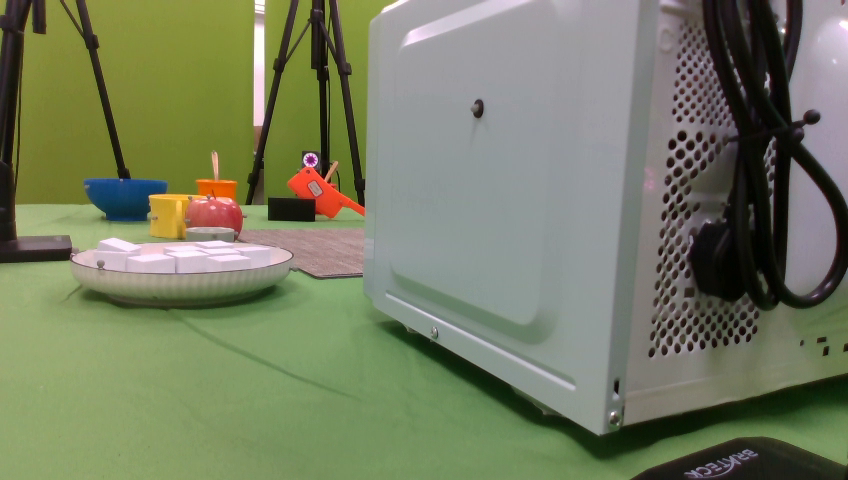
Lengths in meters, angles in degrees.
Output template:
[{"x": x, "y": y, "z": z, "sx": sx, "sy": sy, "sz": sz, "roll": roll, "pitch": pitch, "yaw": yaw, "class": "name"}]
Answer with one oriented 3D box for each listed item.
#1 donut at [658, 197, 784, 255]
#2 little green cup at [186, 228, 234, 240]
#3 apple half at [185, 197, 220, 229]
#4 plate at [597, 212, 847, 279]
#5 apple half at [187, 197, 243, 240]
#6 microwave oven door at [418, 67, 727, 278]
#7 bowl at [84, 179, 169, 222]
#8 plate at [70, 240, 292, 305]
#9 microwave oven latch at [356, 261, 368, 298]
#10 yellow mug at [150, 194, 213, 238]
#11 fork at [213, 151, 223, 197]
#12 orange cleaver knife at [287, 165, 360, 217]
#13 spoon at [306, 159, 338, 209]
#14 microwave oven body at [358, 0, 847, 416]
[{"x": 0.252, "y": -0.012, "z": 0.518, "sx": 0.099, "sy": 0.048, "sz": 0.099, "roll": 2, "pitch": 8, "yaw": 0, "class": "donut"}, {"x": -0.284, "y": 0.005, "z": 0.805, "sx": 0.061, "sy": 0.038, "sz": 0.061, "roll": 3, "pitch": 8, "yaw": 0, "class": "little green cup"}, {"x": -0.338, "y": -0.031, "z": 0.927, "sx": 0.032, "sy": 0.081, "sz": 0.081, "roll": 12, "pitch": 12, "yaw": 31, "class": "apple half"}, {"x": 0.255, "y": 0.002, "z": 0.519, "sx": 0.209, "sy": 0.038, "sz": 0.209, "roll": 3, "pitch": 7, "yaw": 0, "class": "plate"}, {"x": -0.305, "y": -0.026, "z": 0.907, "sx": 0.053, "sy": 0.074, "sz": 0.081, "roll": 12, "pitch": 8, "yaw": 31, "class": "apple half"}, {"x": 0.169, "y": -0.089, "z": 0.750, "sx": 0.355, "sy": 0.243, "sz": 0.039, "roll": 4, "pitch": 9, "yaw": 16, "class": "microwave oven door"}, {"x": -0.584, "y": -0.078, "z": 1.194, "sx": 0.151, "sy": 0.077, "sz": 0.151, "roll": 3, "pitch": 8, "yaw": 0, "class": "bowl"}, {"x": -0.242, "y": 0.031, "z": 0.618, "sx": 0.208, "sy": 0.039, "sz": 0.207, "roll": 2, "pitch": 8, "yaw": 0, "class": "plate"}, {"x": -0.019, "y": 0.033, "z": 0.530, "sx": 0.079, "sy": 0.029, "sz": 0.030, "roll": 0, "pitch": 7, "yaw": -26, "class": "microwave oven latch"}, {"x": -0.401, "y": -0.040, "z": 1.003, "sx": 0.100, "sy": 0.064, "sz": 0.130, "roll": -1, "pitch": 9, "yaw": -20, "class": "yellow mug"}, {"x": -0.494, "y": -0.143, "z": 1.442, "sx": 0.028, "sy": 0.018, "sz": 0.206, "roll": -2, "pitch": 52, "yaw": -20, "class": "fork"}, {"x": -0.210, "y": -0.093, "z": 1.382, "sx": 0.212, "sy": 0.077, "sz": 0.012, "roll": 33, "pitch": 1, "yaw": -15, "class": "orange cleaver knife"}, {"x": -0.257, "y": -0.147, "z": 1.567, "sx": 0.041, "sy": 0.022, "sz": 0.193, "roll": 2, "pitch": 51, "yaw": 20, "class": "spoon"}, {"x": 0.211, "y": -0.047, "z": 0.475, "sx": 0.444, "sy": 0.260, "sz": 0.324, "roll": -1, "pitch": 7, "yaw": -28, "class": "microwave oven body"}]
